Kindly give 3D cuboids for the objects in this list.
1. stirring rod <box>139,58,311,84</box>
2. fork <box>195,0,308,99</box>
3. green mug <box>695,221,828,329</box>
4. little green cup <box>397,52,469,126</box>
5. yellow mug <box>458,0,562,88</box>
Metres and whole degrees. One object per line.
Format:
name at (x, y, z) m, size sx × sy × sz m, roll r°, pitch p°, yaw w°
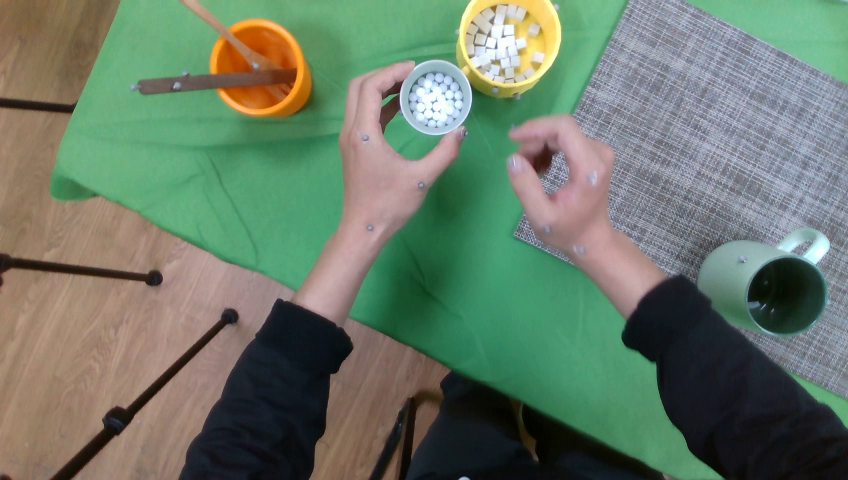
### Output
stirring rod at (-0.186, -0.166, 0.589) m, size 0.176 × 0.006 × 0.014 m, roll -18°, pitch 99°, yaw -40°
fork at (-0.189, -0.208, 0.578) m, size 0.028 × 0.018 × 0.209 m, roll -48°, pitch 136°, yaw 2°
green mug at (0.350, 0.029, 0.617) m, size 0.092 × 0.105 × 0.125 m, roll 43°, pitch 95°, yaw -3°
little green cup at (0.009, -0.129, 0.526) m, size 0.061 × 0.038 × 0.062 m, roll 0°, pitch 100°, yaw 3°
yellow mug at (0.073, -0.201, 0.619) m, size 0.131 × 0.064 × 0.100 m, roll -38°, pitch 95°, yaw 5°
